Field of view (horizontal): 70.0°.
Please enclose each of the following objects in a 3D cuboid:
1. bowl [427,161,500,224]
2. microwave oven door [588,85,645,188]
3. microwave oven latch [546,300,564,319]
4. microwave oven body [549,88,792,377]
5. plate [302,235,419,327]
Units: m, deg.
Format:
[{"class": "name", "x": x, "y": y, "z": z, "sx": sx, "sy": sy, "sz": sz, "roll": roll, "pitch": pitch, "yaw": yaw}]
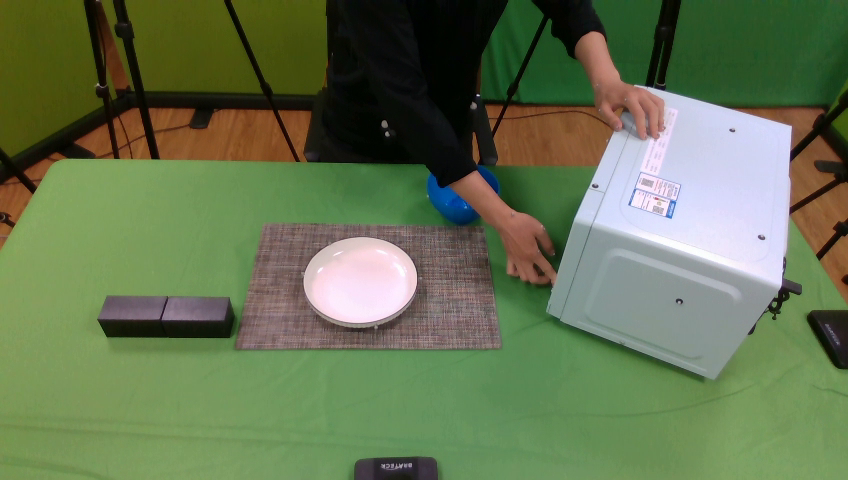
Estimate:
[{"class": "bowl", "x": 0.077, "y": -0.086, "z": 1.248, "sx": 0.151, "sy": 0.077, "sz": 0.150, "roll": 2, "pitch": 46, "yaw": -2}, {"class": "microwave oven door", "x": 0.342, "y": -0.107, "z": 1.149, "sx": 0.039, "sy": 0.245, "sz": 0.354, "roll": 21, "pitch": 48, "yaw": 15}, {"class": "microwave oven latch", "x": 0.243, "y": 0.103, "z": 1.080, "sx": 0.030, "sy": 0.029, "sz": 0.079, "roll": 23, "pitch": 48, "yaw": 19}, {"class": "microwave oven body", "x": 0.456, "y": -0.028, "z": 1.088, "sx": 0.325, "sy": 0.261, "sz": 0.440, "roll": 20, "pitch": 47, "yaw": 16}, {"class": "plate", "x": -0.114, "y": 0.077, "z": 1.098, "sx": 0.208, "sy": 0.039, "sz": 0.206, "roll": 2, "pitch": 46, "yaw": -2}]
